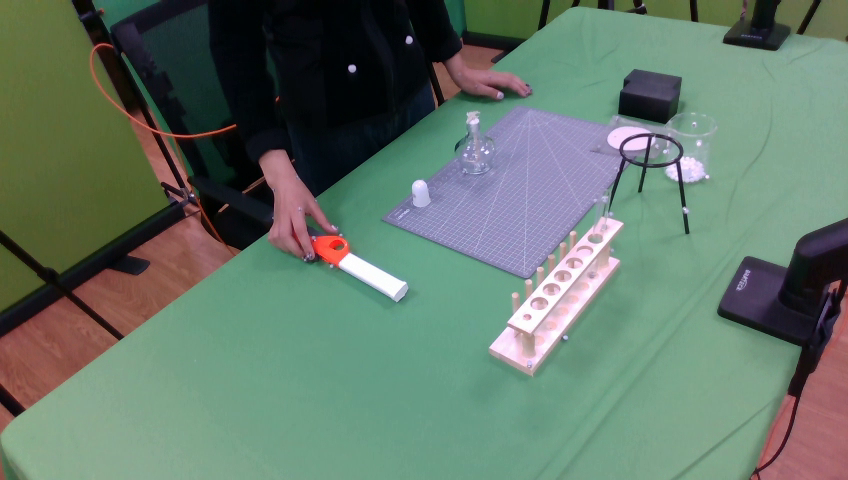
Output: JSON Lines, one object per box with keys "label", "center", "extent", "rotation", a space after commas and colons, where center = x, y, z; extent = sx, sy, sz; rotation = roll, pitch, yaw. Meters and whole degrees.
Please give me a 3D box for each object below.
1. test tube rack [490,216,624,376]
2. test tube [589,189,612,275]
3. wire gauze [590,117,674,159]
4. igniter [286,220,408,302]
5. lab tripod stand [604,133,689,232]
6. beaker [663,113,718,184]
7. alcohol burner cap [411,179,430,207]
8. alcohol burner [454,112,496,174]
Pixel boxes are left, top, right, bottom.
{"label": "test tube rack", "center": [0.184, 0.064, 0.822], "extent": [0.066, 0.085, 0.243], "rotation": [24, 50, 33]}
{"label": "test tube", "center": [0.238, -0.007, 0.818], "extent": [0.017, 0.151, 0.017], "rotation": [-3, 43, 4]}
{"label": "wire gauze", "center": [0.393, -0.192, 1.139], "extent": [0.120, 0.011, 0.125], "rotation": [19, 47, 28]}
{"label": "igniter", "center": [-0.133, 0.028, 0.969], "extent": [0.274, 0.025, 0.057], "rotation": [27, 61, 35]}
{"label": "lab tripod stand", "center": [0.347, -0.086, 0.932], "extent": [0.148, 0.132, 0.147], "rotation": [-4, 40, 4]}
{"label": "beaker", "center": [0.442, -0.151, 1.018], "extent": [0.084, 0.101, 0.074], "rotation": [-1, 40, 11]}
{"label": "alcohol burner cap", "center": [-0.008, -0.085, 1.063], "extent": [0.034, 0.048, 0.033], "rotation": [-5, 40, 4]}
{"label": "alcohol burner", "center": [0.092, -0.181, 1.102], "extent": [0.078, 0.119, 0.077], "rotation": [-5, 42, 5]}
